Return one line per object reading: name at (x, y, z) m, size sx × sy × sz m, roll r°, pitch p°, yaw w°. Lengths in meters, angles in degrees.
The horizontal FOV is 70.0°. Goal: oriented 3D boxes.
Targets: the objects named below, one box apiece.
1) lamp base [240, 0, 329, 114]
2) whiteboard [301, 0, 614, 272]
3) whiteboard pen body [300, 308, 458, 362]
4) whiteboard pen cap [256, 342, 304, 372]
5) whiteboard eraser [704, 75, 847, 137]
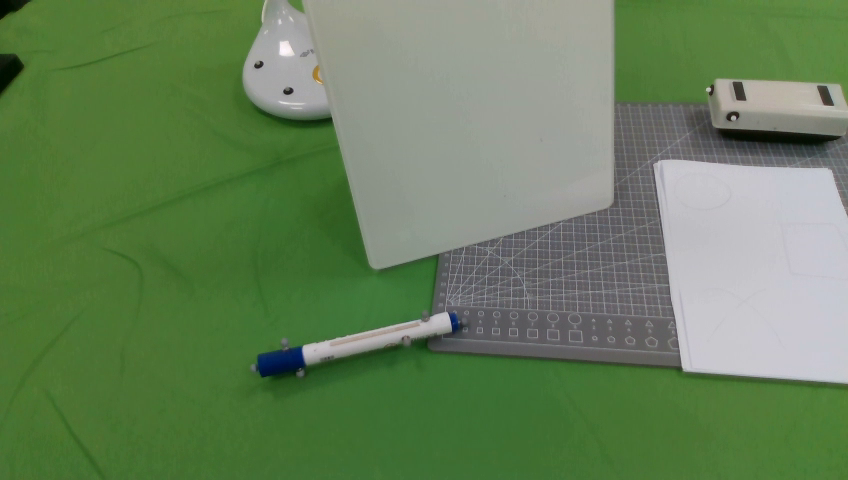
lamp base at (-0.134, -0.248, 0.612) m, size 0.160 × 0.182 × 0.177 m, roll -36°, pitch 54°, yaw -23°
whiteboard at (0.020, -0.162, 0.485) m, size 0.217 × 0.308 × 0.142 m, roll -15°, pitch 31°, yaw -6°
whiteboard pen body at (-0.044, 0.071, 0.442) m, size 0.141 × 0.017 × 0.017 m, roll -12°, pitch 50°, yaw -7°
whiteboard pen cap at (-0.102, 0.083, 0.434) m, size 0.033 × 0.018 × 0.018 m, roll -11°, pitch 50°, yaw -10°
whiteboard eraser at (0.321, -0.123, 0.558) m, size 0.112 × 0.042 × 0.055 m, roll 6°, pitch 52°, yaw 10°
